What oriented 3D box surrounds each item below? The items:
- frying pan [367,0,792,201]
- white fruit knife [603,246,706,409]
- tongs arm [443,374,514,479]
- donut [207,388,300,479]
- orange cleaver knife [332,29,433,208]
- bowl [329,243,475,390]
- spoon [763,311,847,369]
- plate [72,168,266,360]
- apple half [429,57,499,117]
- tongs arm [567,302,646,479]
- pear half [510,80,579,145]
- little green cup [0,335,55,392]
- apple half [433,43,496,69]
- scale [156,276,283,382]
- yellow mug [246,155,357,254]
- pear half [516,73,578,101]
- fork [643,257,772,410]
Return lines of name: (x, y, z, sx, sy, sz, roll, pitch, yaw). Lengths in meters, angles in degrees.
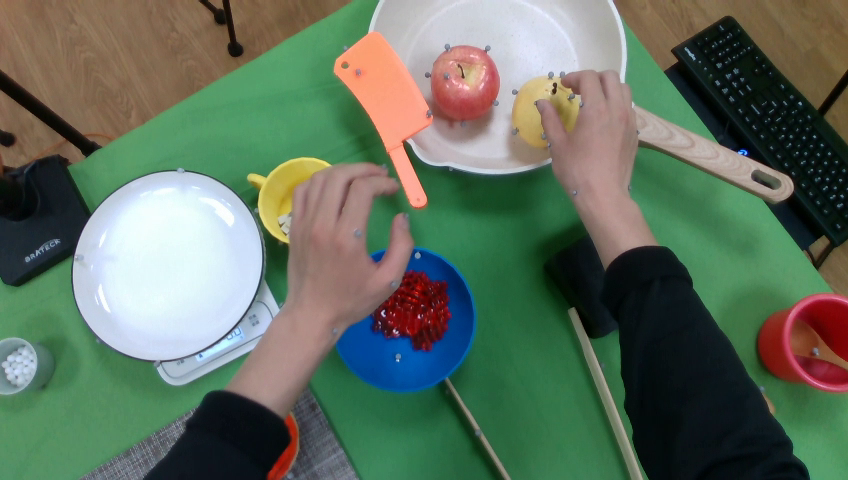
frying pan: (0.166, -0.161, 0.682, 0.485, 0.103, 0.306, 30, 82, 16)
white fruit knife: (0.243, 0.094, 0.642, 0.016, 0.027, 0.207, -33, 94, -4)
tongs arm: (0.139, 0.289, 0.630, 0.051, 0.026, 0.383, -31, 81, -7)
donut: (-0.182, 0.209, 0.647, 0.099, 0.048, 0.098, -1, 80, 3)
orange cleaver knife: (-0.032, -0.137, 0.666, 0.077, 0.012, 0.210, -27, 80, -1)
bowl: (-0.021, 0.084, 0.654, 0.151, 0.077, 0.151, 0, 80, 1)
spoon: (0.423, 0.128, 0.596, 0.041, 0.022, 0.191, -36, 35, -6)
plate: (-0.273, 0.025, 0.663, 0.209, 0.038, 0.208, 0, 78, 2)
apple half: (0.043, -0.170, 0.698, 0.081, 0.075, 0.053, 9, 82, 0)
tongs arm: (0.216, 0.251, 0.635, 0.028, 0.028, 0.386, -16, 80, -7)
pear half: (0.134, -0.140, 0.671, 0.076, 0.110, 0.055, 4, 79, 6)
little green cup: (-0.450, 0.138, 0.677, 0.061, 0.039, 0.061, 0, 78, 2)
apple half: (0.049, -0.207, 0.705, 0.081, 0.081, 0.032, 9, 82, 4)
scale: (-0.264, 0.045, 0.693, 0.149, 0.032, 0.200, -27, 80, -3)
yellow mug: (-0.144, -0.045, 0.689, 0.130, 0.064, 0.099, 25, 81, 8)
pear half: (0.140, -0.173, 0.688, 0.070, 0.088, 0.031, 3, 80, 6)
fork: (0.305, 0.102, 0.646, 0.028, 0.018, 0.208, -41, 96, -9)
